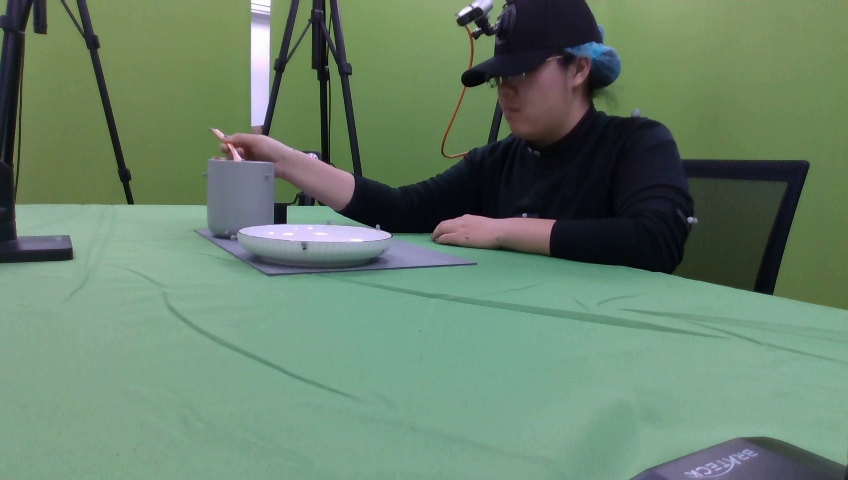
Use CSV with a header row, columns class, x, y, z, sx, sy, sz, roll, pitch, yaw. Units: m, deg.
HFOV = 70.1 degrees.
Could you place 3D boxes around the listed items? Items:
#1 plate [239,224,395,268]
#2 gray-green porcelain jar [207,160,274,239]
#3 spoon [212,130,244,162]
class,x,y,z,sx,sy,sz,roll,pitch,yaw
plate,-0.144,0.007,0.823,0.208,0.039,0.207,3,7,0
gray-green porcelain jar,-0.304,-0.068,1.004,0.106,0.126,0.106,3,7,0
spoon,-0.326,-0.150,1.031,0.042,0.021,0.193,-1,35,-37
